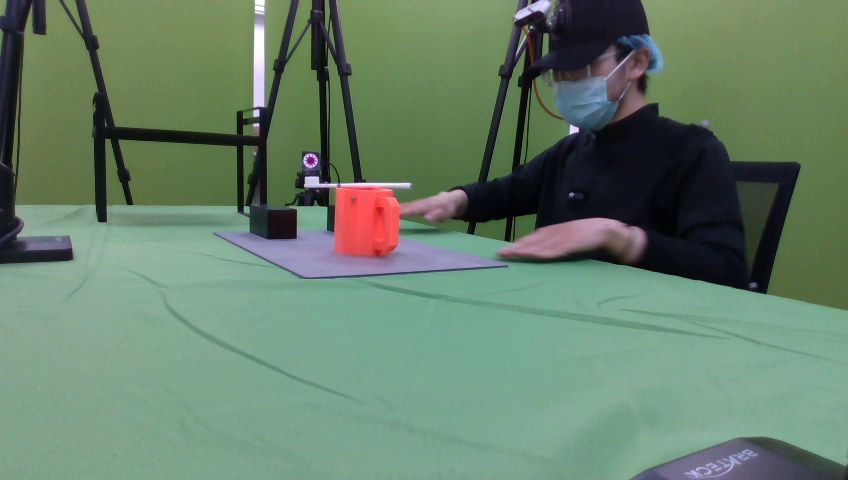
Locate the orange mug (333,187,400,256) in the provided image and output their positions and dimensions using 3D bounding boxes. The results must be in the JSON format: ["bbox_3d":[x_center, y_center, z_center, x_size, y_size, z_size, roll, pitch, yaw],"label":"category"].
[{"bbox_3d":[-0.080,-0.029,0.888,0.084,0.100,0.125,-3,5,-40],"label":"orange mug"}]

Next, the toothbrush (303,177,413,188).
[{"bbox_3d":[-0.097,-0.086,0.920,0.183,0.016,0.014,-2,-3,-32],"label":"toothbrush"}]
